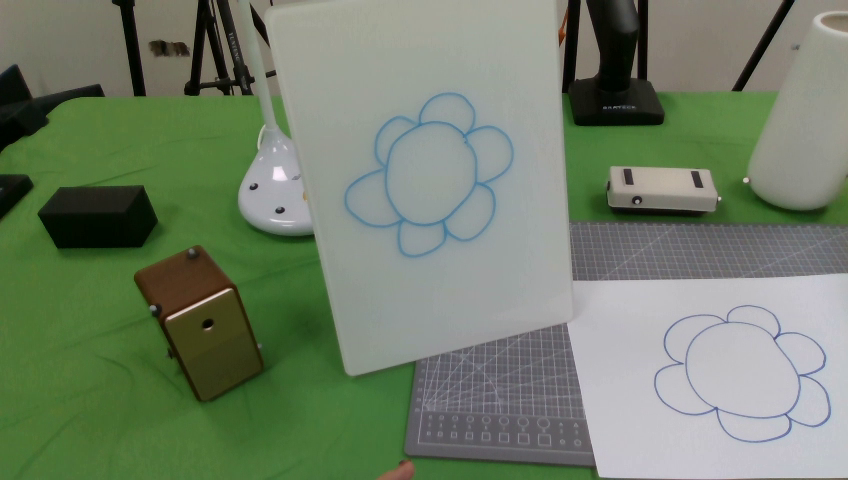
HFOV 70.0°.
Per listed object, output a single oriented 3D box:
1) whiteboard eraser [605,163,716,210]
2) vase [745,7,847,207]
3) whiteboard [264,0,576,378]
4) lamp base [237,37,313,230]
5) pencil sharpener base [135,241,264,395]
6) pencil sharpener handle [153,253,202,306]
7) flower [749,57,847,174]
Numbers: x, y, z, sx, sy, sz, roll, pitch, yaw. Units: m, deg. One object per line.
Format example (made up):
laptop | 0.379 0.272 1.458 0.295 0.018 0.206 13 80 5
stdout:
whiteboard eraser | 0.263 -0.059 0.681 0.112 0.042 0.055 2 38 8
vase | 0.414 -0.133 0.635 0.098 0.202 0.097 -1 40 2
whiteboard | 0.001 -0.065 0.549 0.217 0.307 0.142 -12 22 -9
lamp base | -0.156 -0.128 0.688 0.160 0.182 0.177 -33 46 -30
pencil sharpener base | -0.190 0.066 0.516 0.061 0.108 0.076 -29 46 -26
pencil sharpener handle | -0.221 0.032 0.541 0.036 0.068 0.030 -35 48 -20
flower | 0.418 -0.186 0.570 0.044 0.364 0.038 -15 59 -23
